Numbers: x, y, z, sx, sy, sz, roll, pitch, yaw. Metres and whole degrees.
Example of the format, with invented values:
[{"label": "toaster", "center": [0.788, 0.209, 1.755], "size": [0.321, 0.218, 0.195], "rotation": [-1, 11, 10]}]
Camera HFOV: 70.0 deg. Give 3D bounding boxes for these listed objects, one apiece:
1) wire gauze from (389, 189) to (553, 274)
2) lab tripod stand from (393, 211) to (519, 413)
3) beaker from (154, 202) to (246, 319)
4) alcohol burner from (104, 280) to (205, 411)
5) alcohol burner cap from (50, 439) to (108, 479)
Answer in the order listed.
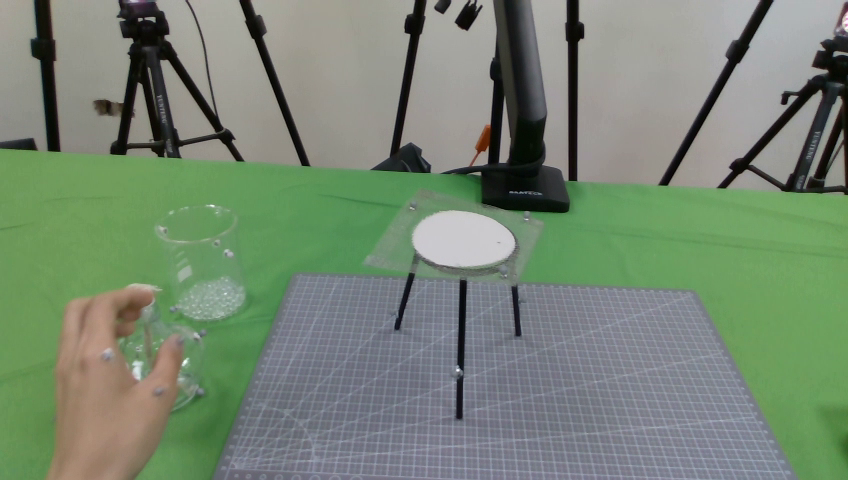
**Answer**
[{"label": "wire gauze", "center": [0.036, -0.013, 0.485], "size": [0.125, 0.011, 0.120], "rotation": [8, 27, -5]}, {"label": "lab tripod stand", "center": [0.033, 0.054, 0.535], "size": [0.148, 0.132, 0.147], "rotation": [3, 34, -2]}, {"label": "beaker", "center": [-0.219, 0.021, 0.609], "size": [0.074, 0.101, 0.083], "rotation": [10, 33, 10]}, {"label": "alcohol burner", "center": [-0.224, 0.082, 0.500], "size": [0.078, 0.120, 0.077], "rotation": [3, 31, -1]}, {"label": "alcohol burner cap", "center": [-0.251, 0.165, 0.436], "size": [0.034, 0.048, 0.033], "rotation": [2, 31, -1]}]
